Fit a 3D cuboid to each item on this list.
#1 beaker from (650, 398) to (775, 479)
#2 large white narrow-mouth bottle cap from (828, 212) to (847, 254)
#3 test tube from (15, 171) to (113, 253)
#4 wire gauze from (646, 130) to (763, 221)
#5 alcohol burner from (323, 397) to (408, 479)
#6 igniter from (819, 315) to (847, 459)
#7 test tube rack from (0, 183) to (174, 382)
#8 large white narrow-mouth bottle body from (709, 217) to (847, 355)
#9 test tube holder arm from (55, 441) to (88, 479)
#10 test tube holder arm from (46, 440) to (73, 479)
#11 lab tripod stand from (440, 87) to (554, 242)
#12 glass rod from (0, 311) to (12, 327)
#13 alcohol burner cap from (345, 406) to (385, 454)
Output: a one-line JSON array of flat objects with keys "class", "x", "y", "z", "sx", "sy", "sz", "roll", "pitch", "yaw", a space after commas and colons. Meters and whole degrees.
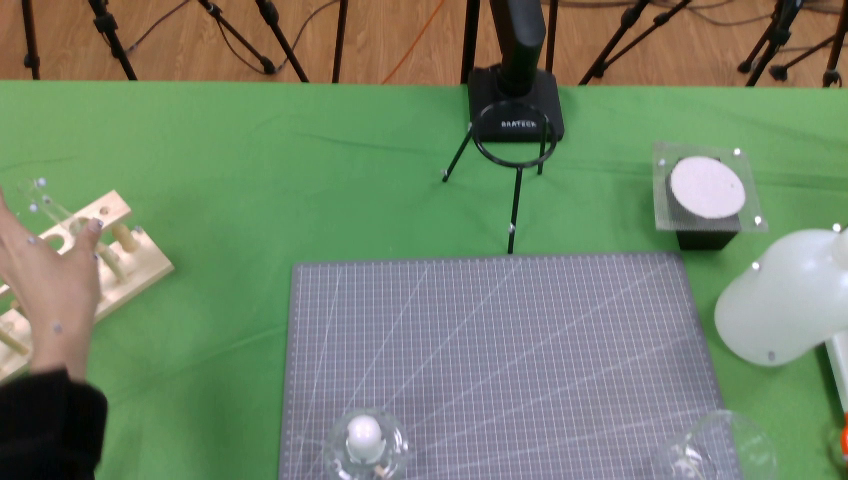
[{"class": "beaker", "x": 0.254, "y": 0.194, "z": 0.553, "sx": 0.084, "sy": 0.101, "sz": 0.073, "roll": 3, "pitch": 61, "yaw": 0}, {"class": "large white narrow-mouth bottle cap", "x": 0.369, "y": -0.007, "z": 0.518, "sx": 0.038, "sy": 0.024, "sz": 0.037, "roll": 1, "pitch": 61, "yaw": -2}, {"class": "test tube", "x": -0.348, "y": -0.023, "z": 0.596, "sx": 0.017, "sy": 0.151, "sz": 0.017, "roll": -1, "pitch": 64, "yaw": 2}, {"class": "wire gauze", "x": 0.320, "y": -0.075, "z": 0.700, "sx": 0.121, "sy": 0.011, "sz": 0.124, "roll": 5, "pitch": 61, "yaw": 0}, {"class": "alcohol burner", "x": -0.052, "y": 0.175, "z": 0.541, "sx": 0.078, "sy": 0.120, "sz": 0.077, "roll": 2, "pitch": 60, "yaw": -3}, {"class": "igniter", "x": 0.441, "y": 0.175, "z": 0.616, "sx": 0.057, "sy": 0.025, "sz": 0.274, "roll": 9, "pitch": 61, "yaw": -10}, {"class": "test tube rack", "x": -0.388, "y": 0.053, "z": 0.609, "sx": 0.242, "sy": 0.086, "sz": 0.066, "roll": -39, "pitch": 70, "yaw": -21}, {"class": "large white narrow-mouth bottle body", "x": 0.366, "y": 0.036, "z": 0.592, "sx": 0.102, "sy": 0.196, "sz": 0.101, "roll": 1, "pitch": 61, "yaw": -1}, {"class": "test tube holder arm", "x": -0.320, "y": 0.253, "z": 0.489, "sx": 0.013, "sy": 0.015, "sz": 0.177, "roll": 7, "pitch": 61, "yaw": 11}, {"class": "test tube holder arm", "x": -0.317, "y": 0.214, "z": 0.511, "sx": 0.010, "sy": 0.015, "sz": 0.087, "roll": 6, "pitch": 61, "yaw": 11}, {"class": "lab tripod stand", "x": 0.091, "y": -0.091, "z": 0.683, "sx": 0.148, "sy": 0.132, "sz": 0.147, "roll": 2, "pitch": 62, "yaw": -3}, {"class": "glass rod", "x": -0.419, "y": 0.029, "z": 0.546, "sx": 0.008, "sy": 0.201, "sz": 0.008, "roll": 3, "pitch": 52, "yaw": -4}, {"class": "alcohol burner cap", "x": -0.051, "y": 0.158, "z": 0.509, "sx": 0.034, "sy": 0.048, "sz": 0.033, "roll": 0, "pitch": 56, "yaw": 0}]
